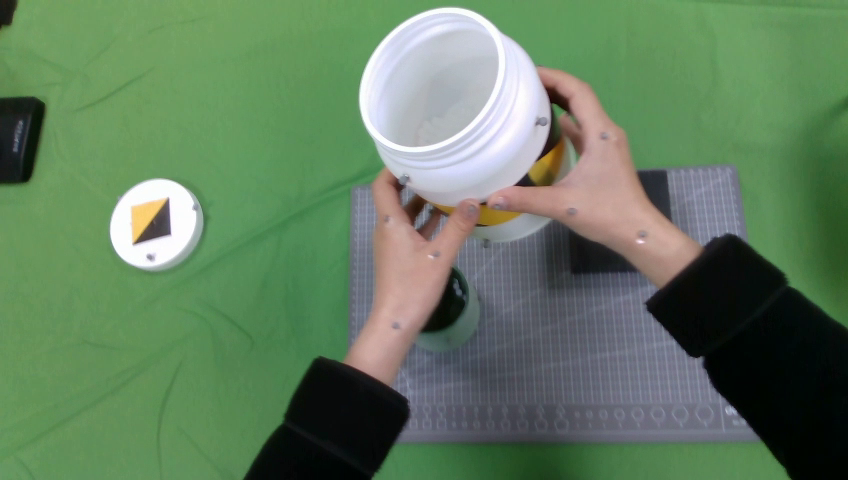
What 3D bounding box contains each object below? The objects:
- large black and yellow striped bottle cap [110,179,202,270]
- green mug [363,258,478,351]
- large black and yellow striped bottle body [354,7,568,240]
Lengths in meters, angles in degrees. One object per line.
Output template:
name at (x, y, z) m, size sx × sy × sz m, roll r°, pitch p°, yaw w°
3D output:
large black and yellow striped bottle cap at (-0.335, -0.020, 0.756) m, size 0.115 × 0.019 × 0.114 m, roll -2°, pitch 75°, yaw 7°
green mug at (-0.005, 0.076, 0.642) m, size 0.125 × 0.105 × 0.092 m, roll -27°, pitch 74°, yaw 0°
large black and yellow striped bottle body at (0.035, -0.085, 0.487) m, size 0.130 × 0.185 × 0.130 m, roll -7°, pitch 71°, yaw 22°
